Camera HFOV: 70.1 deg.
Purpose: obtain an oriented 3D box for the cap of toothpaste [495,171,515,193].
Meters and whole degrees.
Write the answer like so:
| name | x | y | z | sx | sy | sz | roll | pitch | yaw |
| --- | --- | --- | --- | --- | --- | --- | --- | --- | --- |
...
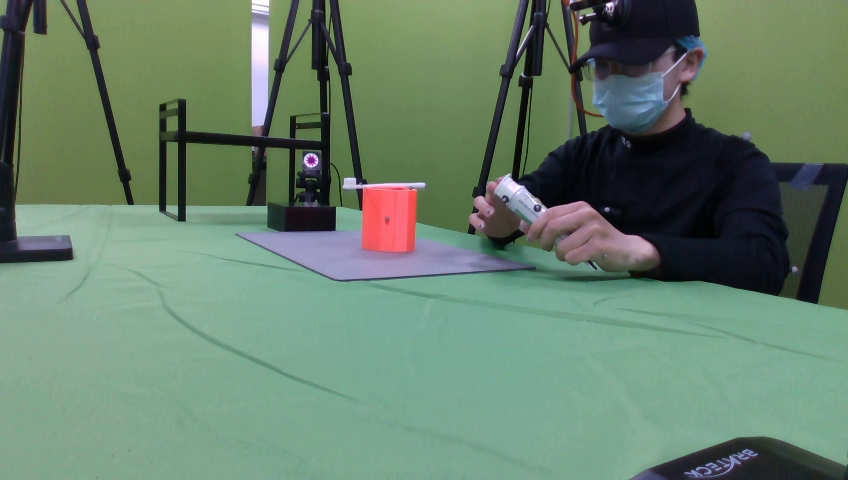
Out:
| name | x | y | z | sx | sy | sz | roll | pitch | yaw |
| --- | --- | --- | --- | --- | --- | --- | --- | --- | --- |
| cap of toothpaste | 0.108 | -0.075 | 0.799 | 0.011 | 0.037 | 0.037 | 42 | 15 | 8 |

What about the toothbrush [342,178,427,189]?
| name | x | y | z | sx | sy | sz | roll | pitch | yaw |
| --- | --- | --- | --- | --- | --- | --- | --- | --- | --- |
| toothbrush | -0.058 | -0.089 | 0.948 | 0.014 | 0.016 | 0.183 | 5 | 7 | 41 |

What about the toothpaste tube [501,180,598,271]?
| name | x | y | z | sx | sy | sz | roll | pitch | yaw |
| --- | --- | --- | --- | --- | --- | --- | --- | --- | --- |
| toothpaste tube | 0.163 | -0.020 | 0.783 | 0.165 | 0.034 | 0.055 | 44 | 18 | 10 |

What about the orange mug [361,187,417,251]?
| name | x | y | z | sx | sy | sz | roll | pitch | yaw |
| --- | --- | --- | --- | --- | --- | --- | --- | --- | --- |
| orange mug | -0.054 | -0.039 | 0.962 | 0.083 | 0.101 | 0.126 | 2 | 12 | 0 |
